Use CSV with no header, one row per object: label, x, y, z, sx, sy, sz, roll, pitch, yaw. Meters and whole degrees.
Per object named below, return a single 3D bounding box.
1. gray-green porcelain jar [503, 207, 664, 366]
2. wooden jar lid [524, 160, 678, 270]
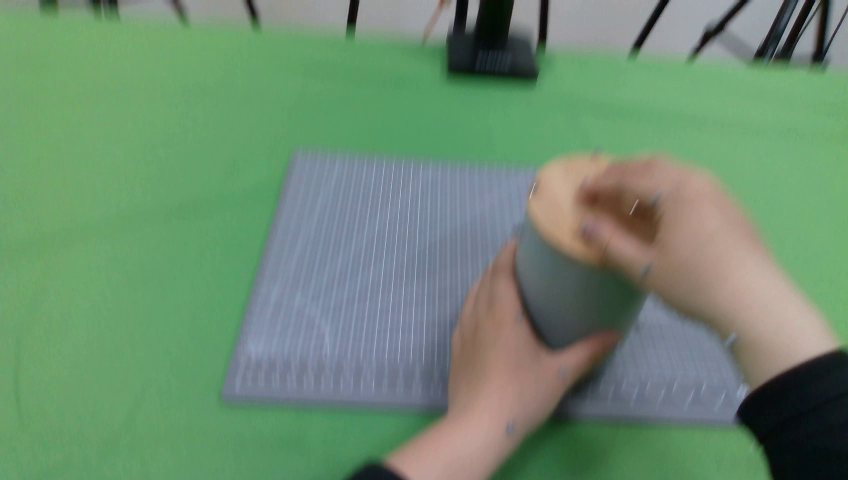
gray-green porcelain jar,0.119,0.028,0.473,0.106,0.127,0.105,3,44,-2
wooden jar lid,0.123,-0.016,0.431,0.108,0.021,0.107,3,45,-2
